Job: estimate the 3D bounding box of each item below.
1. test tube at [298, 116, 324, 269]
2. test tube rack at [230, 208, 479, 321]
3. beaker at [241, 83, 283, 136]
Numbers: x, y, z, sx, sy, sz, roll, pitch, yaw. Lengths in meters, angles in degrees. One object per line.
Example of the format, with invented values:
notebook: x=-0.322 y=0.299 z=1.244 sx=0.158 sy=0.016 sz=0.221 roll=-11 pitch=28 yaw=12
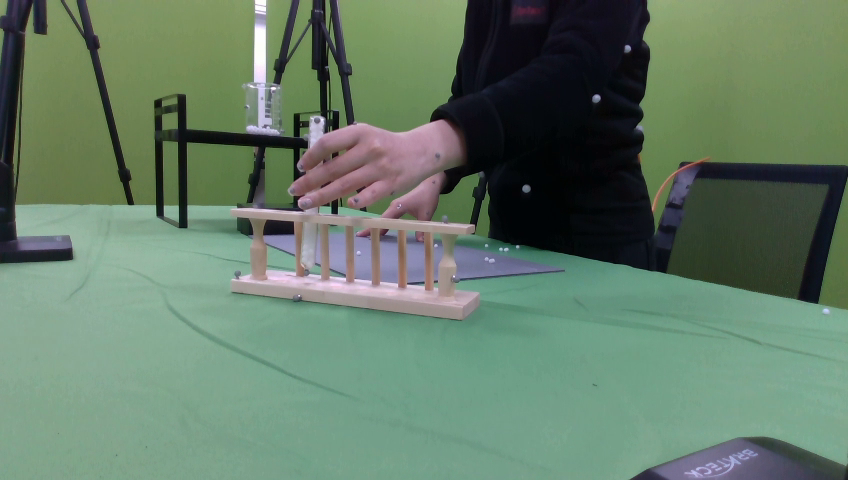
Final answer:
test tube: x=-0.111 y=-0.046 z=0.592 sx=0.017 sy=0.150 sz=0.017 roll=5 pitch=4 yaw=0
test tube rack: x=-0.069 y=0.017 z=0.598 sx=0.242 sy=0.085 sz=0.067 roll=5 pitch=8 yaw=18
beaker: x=-0.324 y=-0.259 z=1.208 sx=0.084 sy=0.100 sz=0.073 roll=-4 pitch=9 yaw=-38
